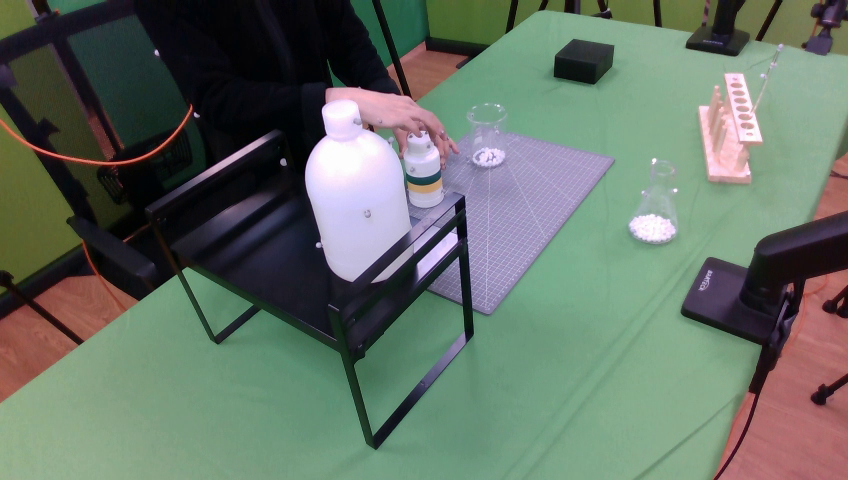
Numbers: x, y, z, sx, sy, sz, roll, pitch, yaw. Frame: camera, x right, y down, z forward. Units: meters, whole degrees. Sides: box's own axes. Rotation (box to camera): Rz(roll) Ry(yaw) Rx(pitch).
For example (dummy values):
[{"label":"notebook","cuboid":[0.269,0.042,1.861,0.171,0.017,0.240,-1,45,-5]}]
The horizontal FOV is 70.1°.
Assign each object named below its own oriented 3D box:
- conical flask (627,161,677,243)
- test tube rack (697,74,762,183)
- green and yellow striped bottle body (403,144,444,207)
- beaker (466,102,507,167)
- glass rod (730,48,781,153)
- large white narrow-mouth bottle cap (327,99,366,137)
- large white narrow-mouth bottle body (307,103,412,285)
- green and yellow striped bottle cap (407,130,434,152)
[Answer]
[{"label":"conical flask","cuboid":[0.355,-0.061,0.921,0.075,0.122,0.075,-4,41,4]},{"label":"test tube rack","cuboid":[0.547,-0.208,1.095,0.066,0.085,0.242,5,42,15]},{"label":"green and yellow striped bottle body","cuboid":[-0.001,-0.121,1.038,0.063,0.120,0.063,-4,40,4]},{"label":"beaker","cuboid":[0.121,-0.195,1.124,0.084,0.100,0.073,-34,48,-28]},{"label":"glass rod","cuboid":[0.554,-0.228,1.015,0.008,0.200,0.008,1,44,-1]},{"label":"large white narrow-mouth bottle cap","cuboid":[-0.075,-0.117,0.582,0.038,0.024,0.037,-3,40,3]},{"label":"large white narrow-mouth bottle body","cuboid":[-0.070,-0.051,0.638,0.102,0.195,0.101,-3,40,3]},{"label":"green and yellow striped bottle cap","cuboid":[-0.006,-0.164,1.001,0.045,0.020,0.045,-4,39,4]}]
